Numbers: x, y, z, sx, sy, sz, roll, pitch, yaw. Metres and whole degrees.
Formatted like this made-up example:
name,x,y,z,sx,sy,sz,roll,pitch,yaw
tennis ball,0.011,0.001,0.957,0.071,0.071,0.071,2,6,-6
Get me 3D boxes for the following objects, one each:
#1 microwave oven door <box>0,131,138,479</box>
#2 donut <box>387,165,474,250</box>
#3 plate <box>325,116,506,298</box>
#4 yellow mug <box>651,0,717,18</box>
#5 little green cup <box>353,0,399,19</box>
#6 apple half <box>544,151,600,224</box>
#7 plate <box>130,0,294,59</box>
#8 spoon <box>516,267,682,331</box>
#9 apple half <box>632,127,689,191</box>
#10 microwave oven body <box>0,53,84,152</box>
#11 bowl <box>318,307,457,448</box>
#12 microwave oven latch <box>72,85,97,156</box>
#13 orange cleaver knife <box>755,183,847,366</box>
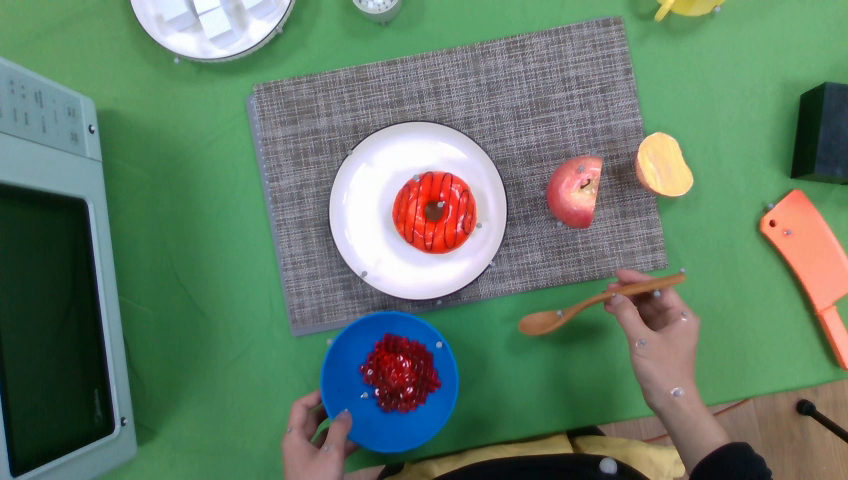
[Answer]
name,x,y,z,sx,sy,sz,roll,pitch,yaw
microwave oven door,-0.387,0.074,0.607,0.039,0.244,0.355,-9,88,4
donut,0.008,-0.037,0.692,0.099,0.048,0.099,0,91,4
plate,-0.009,-0.038,0.704,0.209,0.038,0.209,0,89,4
yellow mug,0.299,-0.307,0.682,0.100,0.064,0.131,37,92,4
little green cup,-0.057,-0.294,0.716,0.061,0.038,0.061,0,88,4
apple half,0.162,-0.060,0.677,0.053,0.075,0.081,9,92,7
plate,-0.250,-0.317,0.728,0.207,0.039,0.207,0,89,4
spoon,0.176,0.062,0.636,0.193,0.041,0.022,-30,102,40
apple half,0.260,-0.087,0.689,0.082,0.033,0.081,9,69,-25
microwave oven body,-0.538,0.053,0.621,0.326,0.260,0.441,-8,89,3
bowl,-0.038,0.149,0.684,0.151,0.077,0.151,0,87,3
microwave oven latch,-0.410,-0.139,0.715,0.030,0.029,0.079,-7,89,3
orange cleaver knife,0.451,0.038,0.688,0.077,0.012,0.211,-26,86,-2
